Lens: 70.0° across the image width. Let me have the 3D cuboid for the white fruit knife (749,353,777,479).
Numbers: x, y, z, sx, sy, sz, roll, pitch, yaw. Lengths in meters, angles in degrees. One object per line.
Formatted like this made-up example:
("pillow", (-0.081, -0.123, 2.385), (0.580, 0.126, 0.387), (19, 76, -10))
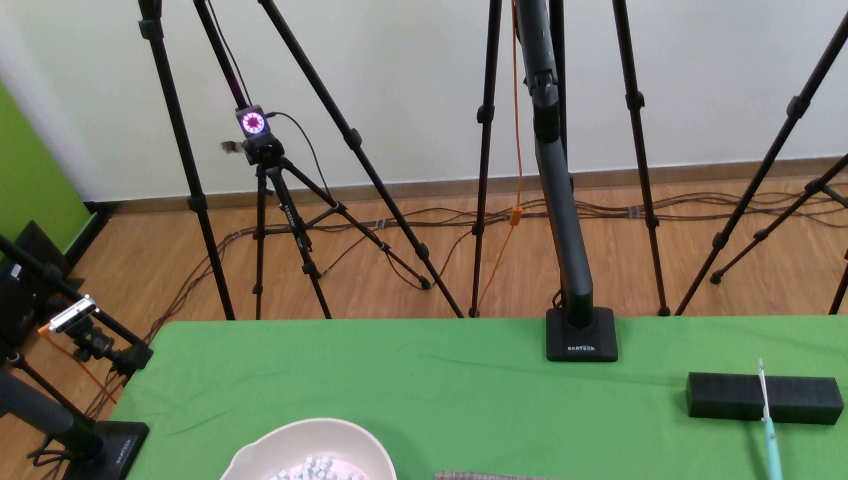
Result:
("white fruit knife", (0.486, 0.261, 0.875), (0.016, 0.028, 0.205), (-1, 58, 15))

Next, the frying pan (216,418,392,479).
("frying pan", (-0.251, 0.457, 0.834), (0.304, 0.103, 0.487), (25, 46, 36))
